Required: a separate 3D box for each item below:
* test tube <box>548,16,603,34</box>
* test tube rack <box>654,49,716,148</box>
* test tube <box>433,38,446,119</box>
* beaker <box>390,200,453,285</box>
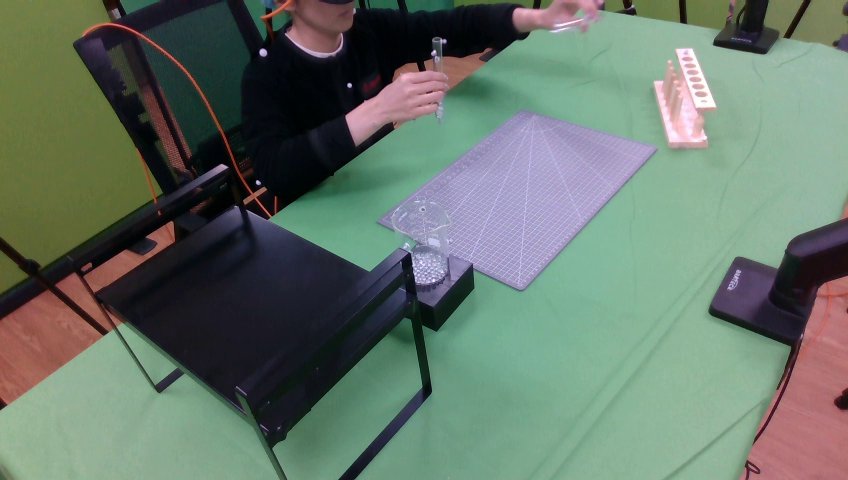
[{"bbox_3d":[0.273,-0.385,1.079,0.151,0.017,0.017,-24,42,-36],"label":"test tube"},{"bbox_3d":[0.502,-0.281,1.176,0.066,0.085,0.241,2,41,11],"label":"test tube rack"},{"bbox_3d":[0.027,-0.275,1.045,0.017,0.151,0.017,-2,43,3],"label":"test tube"},{"bbox_3d":[0.002,0.006,0.831,0.084,0.101,0.074,5,42,13],"label":"beaker"}]
